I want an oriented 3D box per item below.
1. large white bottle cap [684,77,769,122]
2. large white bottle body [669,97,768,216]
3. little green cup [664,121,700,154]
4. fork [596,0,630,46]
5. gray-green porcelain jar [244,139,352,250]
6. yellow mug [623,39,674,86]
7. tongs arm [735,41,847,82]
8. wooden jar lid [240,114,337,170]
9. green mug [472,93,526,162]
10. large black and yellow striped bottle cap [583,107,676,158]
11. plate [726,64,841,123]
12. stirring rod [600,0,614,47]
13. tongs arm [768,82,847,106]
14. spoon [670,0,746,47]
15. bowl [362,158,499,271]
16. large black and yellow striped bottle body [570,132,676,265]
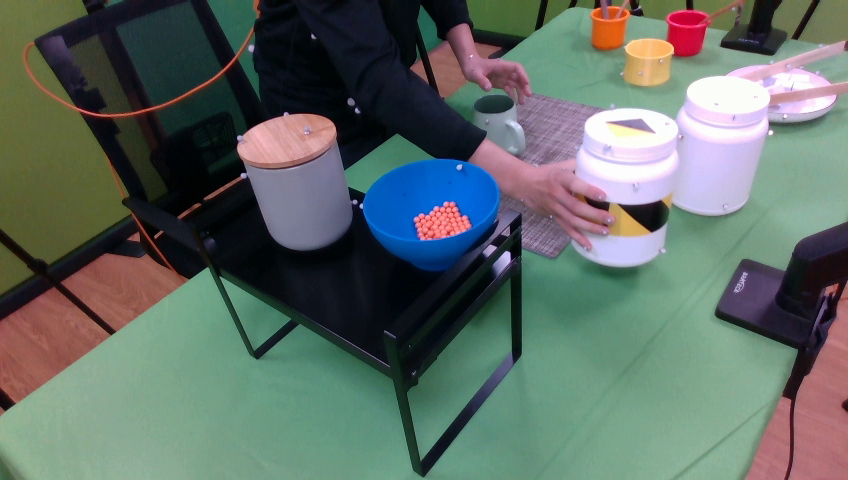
[{"bbox_3d":[0.448,-0.209,0.898,0.115,0.018,0.114,-4,40,4],"label":"large white bottle cap"},{"bbox_3d":[0.458,-0.146,0.952,0.130,0.185,0.130,-4,40,4],"label":"large white bottle body"},{"bbox_3d":[0.472,-0.188,1.113,0.061,0.039,0.061,-5,40,4],"label":"little green cup"},{"bbox_3d":[0.481,-0.556,1.453,0.028,0.019,0.207,40,103,38],"label":"fork"},{"bbox_3d":[-0.144,-0.060,0.714,0.106,0.127,0.105,-4,41,4],"label":"gray-green porcelain jar"},{"bbox_3d":[0.484,-0.398,1.334,0.100,0.064,0.130,-18,41,-11],"label":"yellow mug"},{"bbox_3d":[0.712,-0.332,1.194,0.386,0.026,0.050,-19,45,-16],"label":"tongs arm"},{"bbox_3d":[-0.149,-0.106,0.673,0.108,0.021,0.108,-6,39,5],"label":"wooden jar lid"},{"bbox_3d":[0.144,-0.202,1.122,0.093,0.105,0.124,-29,45,-23],"label":"green mug"},{"bbox_3d":[0.264,-0.141,0.781,0.115,0.019,0.114,-5,35,4],"label":"large black and yellow striped bottle cap"},{"bbox_3d":[0.695,-0.282,1.189,0.207,0.039,0.206,-4,40,4],"label":"plate"},{"bbox_3d":[0.439,-0.552,1.463,0.014,0.006,0.175,-7,83,4],"label":"stirring rod"},{"bbox_3d":[0.738,-0.282,1.134,0.388,0.028,0.028,-9,46,-5],"label":"tongs arm"},{"bbox_3d":[0.629,-0.485,1.350,0.022,0.193,0.042,48,54,-7],"label":"spoon"},{"bbox_3d":[0.011,-0.019,0.679,0.151,0.077,0.150,-5,41,5],"label":"bowl"},{"bbox_3d":[0.271,-0.073,0.830,0.131,0.184,0.130,-4,35,3],"label":"large black and yellow striped bottle body"}]
